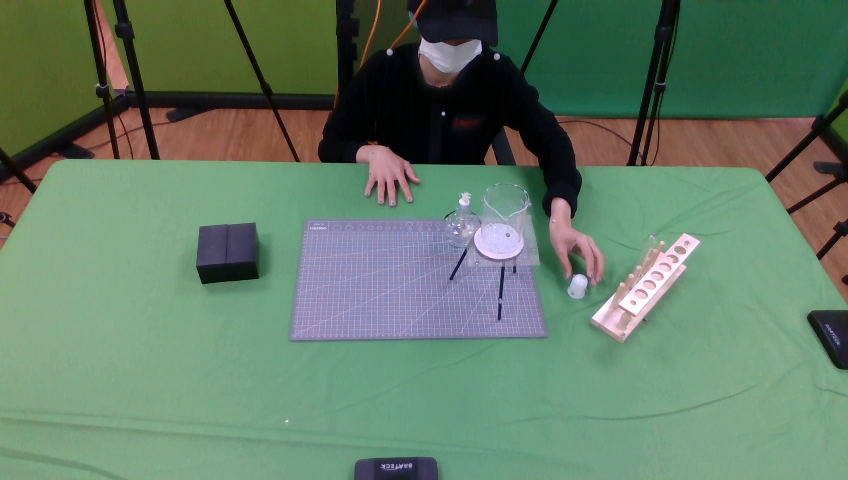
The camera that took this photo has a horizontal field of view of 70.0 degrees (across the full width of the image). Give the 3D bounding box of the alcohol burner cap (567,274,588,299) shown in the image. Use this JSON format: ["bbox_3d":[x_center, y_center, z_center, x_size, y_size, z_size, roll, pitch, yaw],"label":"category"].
[{"bbox_3d":[0.287,0.083,1.125,0.034,0.048,0.033,1,46,-1],"label":"alcohol burner cap"}]

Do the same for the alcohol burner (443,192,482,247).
[{"bbox_3d":[0.075,-0.044,1.177,0.078,0.120,0.077,1,44,-1],"label":"alcohol burner"}]

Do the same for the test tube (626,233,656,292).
[{"bbox_3d":[0.384,0.042,1.079,0.017,0.151,0.017,1,48,-1],"label":"test tube"}]

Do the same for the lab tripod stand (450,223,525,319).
[{"bbox_3d":[0.120,0.046,1.080,0.148,0.132,0.147,1,47,-1],"label":"lab tripod stand"}]

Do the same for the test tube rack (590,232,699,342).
[{"bbox_3d":[0.407,0.074,1.112,0.066,0.085,0.242,35,53,26],"label":"test tube rack"}]

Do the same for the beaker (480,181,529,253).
[{"bbox_3d":[0.130,-0.033,0.998,0.074,0.101,0.083,5,47,4],"label":"beaker"}]

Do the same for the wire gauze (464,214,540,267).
[{"bbox_3d":[0.131,-0.001,1.034,0.121,0.011,0.124,1,44,-3],"label":"wire gauze"}]
